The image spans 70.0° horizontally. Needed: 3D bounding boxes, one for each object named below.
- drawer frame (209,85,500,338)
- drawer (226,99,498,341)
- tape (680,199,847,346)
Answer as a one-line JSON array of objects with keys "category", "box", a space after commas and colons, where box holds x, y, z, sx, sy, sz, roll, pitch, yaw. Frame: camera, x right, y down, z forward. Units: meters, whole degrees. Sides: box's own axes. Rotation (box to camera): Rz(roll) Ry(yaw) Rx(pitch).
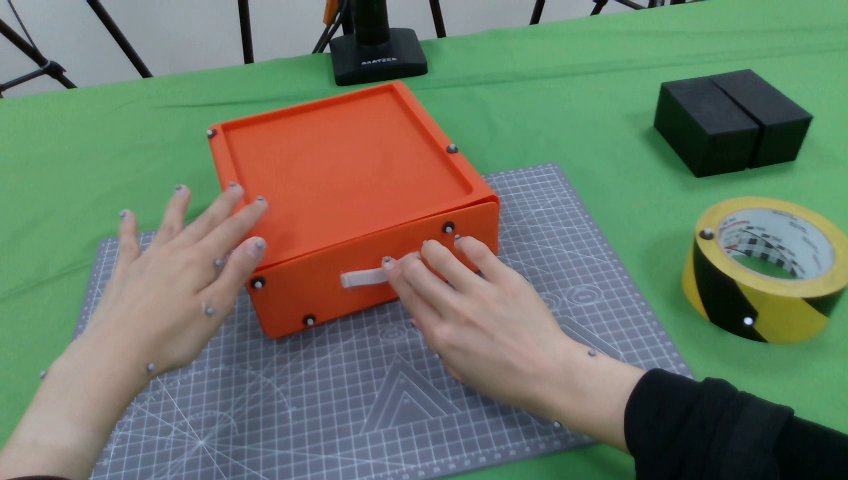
[{"category": "drawer frame", "box": [-0.069, -0.038, 0.535, 0.202, 0.083, 0.211, -18, 43, -14]}, {"category": "drawer", "box": [-0.067, -0.033, 0.532, 0.195, 0.074, 0.209, -18, 43, -13]}, {"category": "tape", "box": [0.261, 0.022, 0.468, 0.117, 0.053, 0.115, -2, 42, 2]}]
